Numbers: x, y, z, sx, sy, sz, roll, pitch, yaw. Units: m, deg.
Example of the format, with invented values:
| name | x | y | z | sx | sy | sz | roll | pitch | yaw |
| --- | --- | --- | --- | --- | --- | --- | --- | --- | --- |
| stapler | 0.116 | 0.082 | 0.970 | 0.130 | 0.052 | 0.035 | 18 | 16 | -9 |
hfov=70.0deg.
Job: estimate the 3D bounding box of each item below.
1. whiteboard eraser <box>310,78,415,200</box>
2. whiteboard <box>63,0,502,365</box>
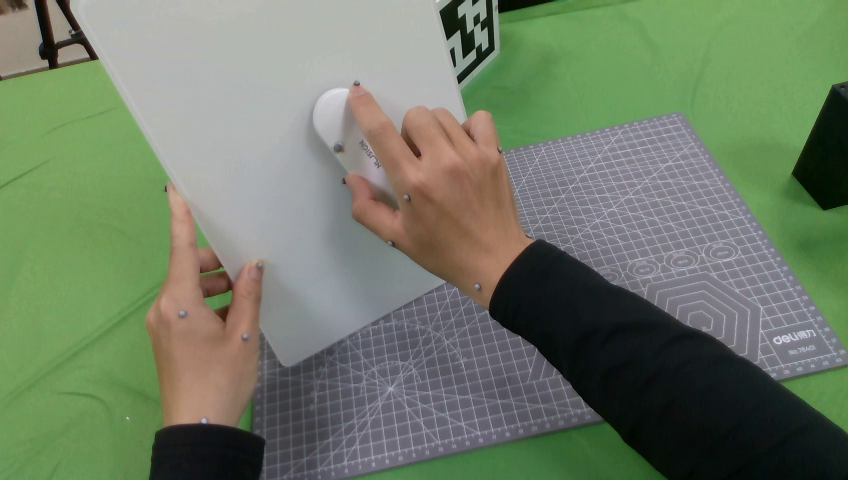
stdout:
| name | x | y | z | sx | sy | sz | roll | pitch | yaw |
| --- | --- | --- | --- | --- | --- | --- | --- | --- | --- |
| whiteboard eraser | -0.043 | -0.071 | 0.437 | 0.041 | 0.102 | 0.018 | -41 | 34 | -5 |
| whiteboard | -0.093 | -0.095 | 0.494 | 0.217 | 0.308 | 0.142 | -28 | 34 | -12 |
